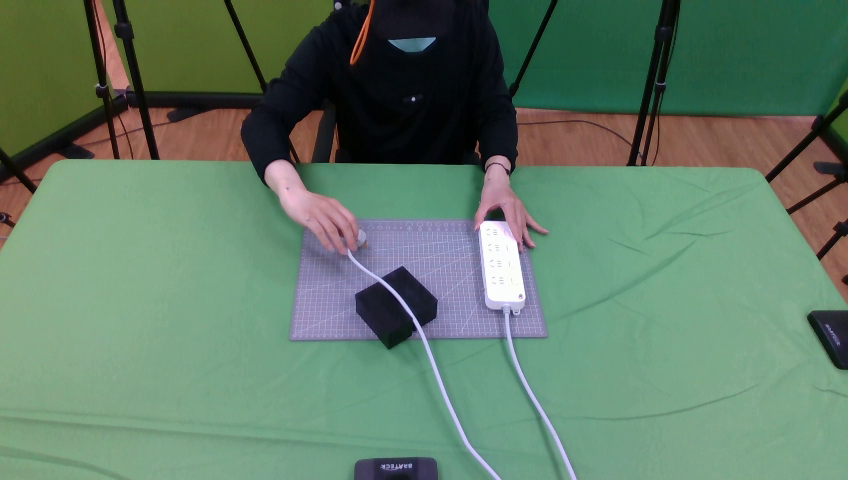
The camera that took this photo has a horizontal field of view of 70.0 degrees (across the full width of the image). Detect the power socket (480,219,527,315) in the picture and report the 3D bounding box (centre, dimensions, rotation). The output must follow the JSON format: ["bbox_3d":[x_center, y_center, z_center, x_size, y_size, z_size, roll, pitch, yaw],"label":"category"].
[{"bbox_3d":[0.148,0.042,1.151,0.072,0.033,0.225,1,47,-1],"label":"power socket"}]

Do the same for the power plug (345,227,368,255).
[{"bbox_3d":[-0.132,0.009,1.157,0.035,0.053,0.072,1,57,39],"label":"power plug"}]
